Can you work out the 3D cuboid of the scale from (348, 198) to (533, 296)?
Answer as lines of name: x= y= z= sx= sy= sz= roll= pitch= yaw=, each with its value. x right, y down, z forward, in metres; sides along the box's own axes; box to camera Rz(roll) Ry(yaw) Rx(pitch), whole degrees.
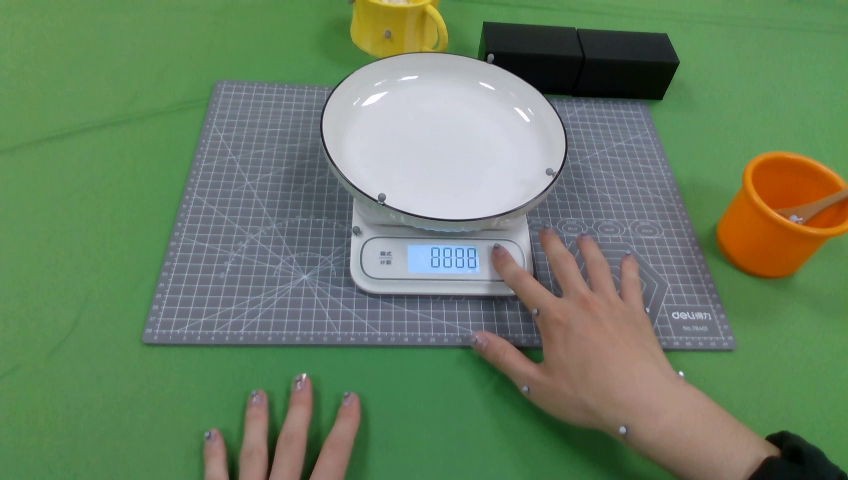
scale: x=0.012 y=-0.042 z=0.527 sx=0.149 sy=0.032 sz=0.199 roll=1 pitch=53 yaw=-5

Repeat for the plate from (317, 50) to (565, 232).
plate: x=0.014 y=-0.085 z=0.519 sx=0.209 sy=0.038 sz=0.207 roll=4 pitch=53 yaw=-4

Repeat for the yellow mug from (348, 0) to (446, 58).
yellow mug: x=-0.023 y=-0.247 z=0.663 sx=0.100 sy=0.064 sz=0.130 roll=-37 pitch=65 yaw=-28

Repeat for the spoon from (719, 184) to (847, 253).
spoon: x=0.339 y=-0.037 z=0.488 sx=0.022 sy=0.193 sz=0.041 roll=30 pitch=43 yaw=-41
